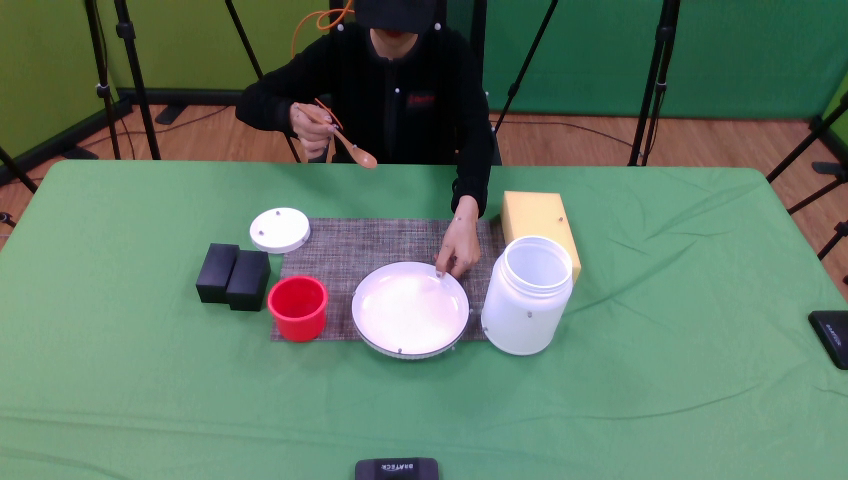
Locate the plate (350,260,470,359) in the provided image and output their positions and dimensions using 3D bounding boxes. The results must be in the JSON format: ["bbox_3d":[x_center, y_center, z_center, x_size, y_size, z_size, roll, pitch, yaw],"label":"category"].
[{"bbox_3d":[-0.025,0.123,1.062,0.209,0.038,0.208,2,47,-2],"label":"plate"}]

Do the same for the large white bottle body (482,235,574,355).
[{"bbox_3d":[0.172,0.091,1.006,0.131,0.185,0.130,3,48,-3],"label":"large white bottle body"}]

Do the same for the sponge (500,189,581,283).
[{"bbox_3d":[0.223,-0.007,1.192,0.118,0.061,0.205,1,47,-6],"label":"sponge"}]

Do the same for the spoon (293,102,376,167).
[{"bbox_3d":[-0.162,-0.195,1.118,0.021,0.195,0.041,-25,42,32],"label":"spoon"}]

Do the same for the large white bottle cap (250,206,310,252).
[{"bbox_3d":[-0.284,-0.022,1.197,0.115,0.018,0.114,1,46,-1],"label":"large white bottle cap"}]
